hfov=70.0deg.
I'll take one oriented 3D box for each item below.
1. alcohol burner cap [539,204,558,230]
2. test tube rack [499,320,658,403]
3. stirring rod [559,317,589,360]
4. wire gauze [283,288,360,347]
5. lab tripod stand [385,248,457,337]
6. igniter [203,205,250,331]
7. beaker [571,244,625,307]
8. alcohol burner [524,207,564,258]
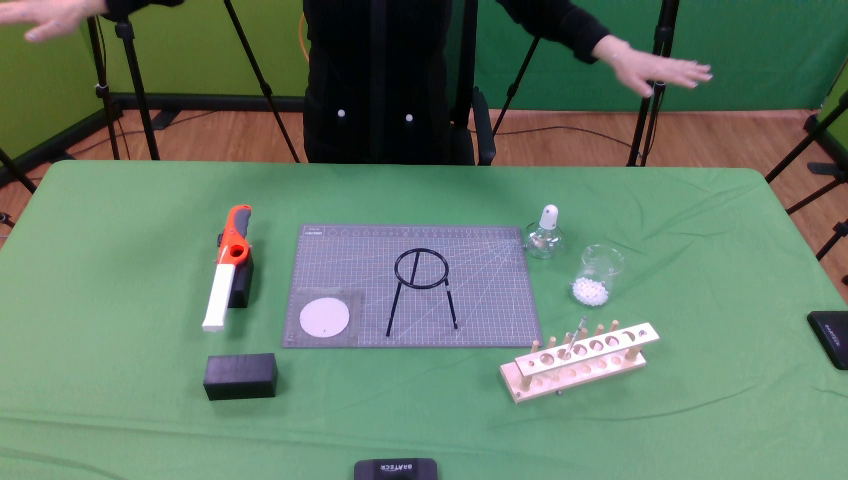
[{"bbox_3d":[0.239,-0.046,1.148,0.034,0.048,0.033,1,43,-1],"label":"alcohol burner cap"},{"bbox_3d":[0.252,0.187,0.994,0.243,0.085,0.066,-12,48,-15],"label":"test tube rack"},{"bbox_3d":[0.221,0.155,0.912,0.014,0.177,0.006,5,58,2],"label":"stirring rod"},{"bbox_3d":[-0.178,0.132,1.063,0.125,0.011,0.120,2,46,1],"label":"wire gauze"},{"bbox_3d":[-0.010,0.087,1.032,0.148,0.132,0.147,1,45,-1],"label":"lab tripod stand"},{"bbox_3d":[-0.345,0.039,1.065,0.057,0.025,0.274,2,49,-6],"label":"igniter"},{"bbox_3d":[0.315,0.067,1.105,0.084,0.101,0.073,-9,48,-13],"label":"beaker"},{"bbox_3d":[0.236,-0.021,1.174,0.078,0.120,0.077,1,48,-1],"label":"alcohol burner"}]
